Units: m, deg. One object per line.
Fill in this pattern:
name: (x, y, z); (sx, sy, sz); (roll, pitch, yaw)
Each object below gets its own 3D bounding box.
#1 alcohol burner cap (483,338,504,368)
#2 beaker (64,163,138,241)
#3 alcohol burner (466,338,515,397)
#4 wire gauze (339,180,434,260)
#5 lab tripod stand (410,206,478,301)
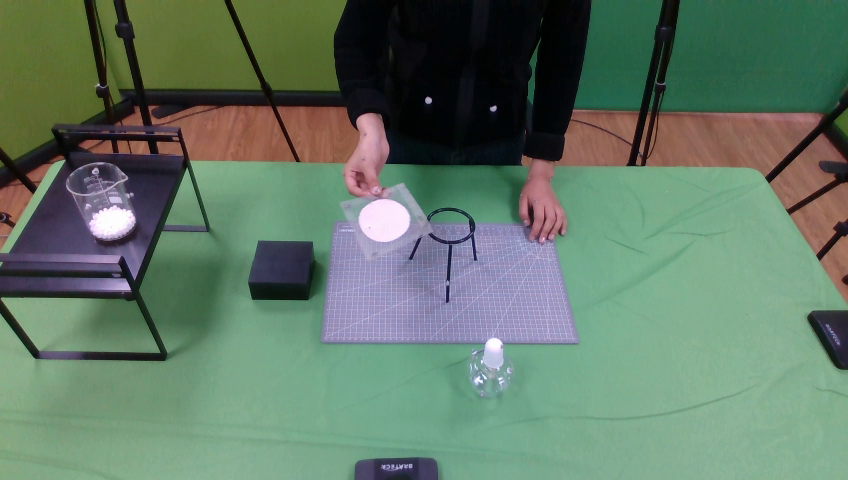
alcohol burner cap: (0.108, 0.170, 0.928); (0.034, 0.048, 0.033); (-1, 41, 1)
beaker: (-0.478, -0.055, 0.910); (0.084, 0.101, 0.073); (-9, 48, -13)
alcohol burner: (0.106, 0.195, 0.952); (0.078, 0.120, 0.077); (0, 46, 0)
wire gauze: (-0.062, -0.038, 1.002); (0.121, 0.011, 0.124); (-22, 61, -15)
lab tripod stand: (0.040, 0.015, 1.101); (0.148, 0.132, 0.147); (1, 47, 0)
